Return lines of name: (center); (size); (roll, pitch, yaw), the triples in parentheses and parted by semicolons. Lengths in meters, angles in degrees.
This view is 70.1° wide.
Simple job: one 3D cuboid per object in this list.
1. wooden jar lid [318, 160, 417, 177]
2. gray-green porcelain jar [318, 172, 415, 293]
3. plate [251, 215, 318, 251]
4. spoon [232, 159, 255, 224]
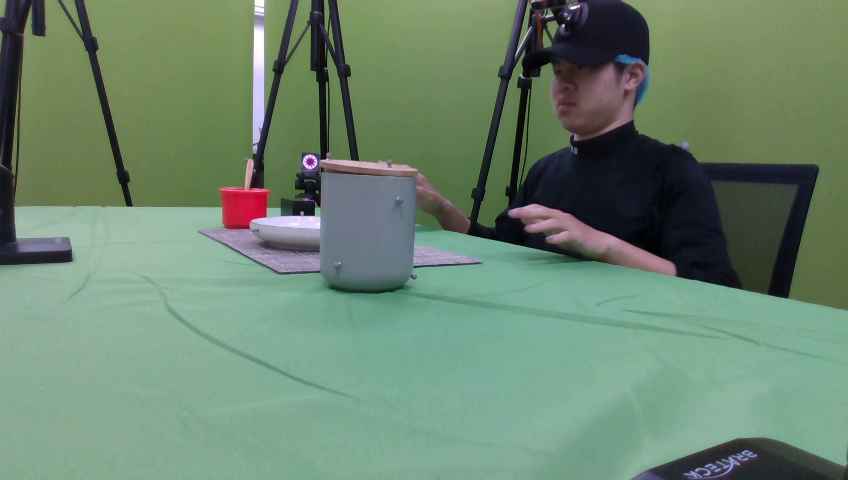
wooden jar lid: (-0.063, -0.073, 0.665); (0.108, 0.020, 0.108); (5, 9, 0)
gray-green porcelain jar: (-0.064, -0.010, 0.672); (0.106, 0.126, 0.106); (2, 7, 0)
plate: (-0.170, -0.012, 0.971); (0.208, 0.039, 0.207); (3, 7, 0)
spoon: (-0.356, -0.101, 1.218); (0.042, 0.021, 0.193); (1, 51, -9)
